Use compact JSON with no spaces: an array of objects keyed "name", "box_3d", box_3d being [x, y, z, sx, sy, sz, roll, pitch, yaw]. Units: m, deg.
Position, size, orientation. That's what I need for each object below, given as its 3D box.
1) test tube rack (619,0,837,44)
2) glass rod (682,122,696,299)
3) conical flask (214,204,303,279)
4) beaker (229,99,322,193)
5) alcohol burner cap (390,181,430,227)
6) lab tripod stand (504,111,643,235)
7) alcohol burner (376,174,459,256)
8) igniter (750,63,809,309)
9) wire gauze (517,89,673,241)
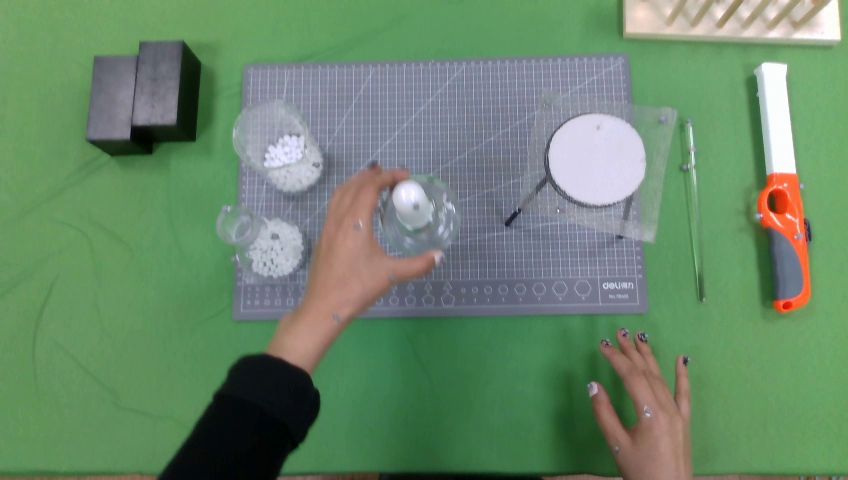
[{"name":"test tube rack","box_3d":[0.350,-0.272,0.671,0.242,0.085,0.066,3,79,3]},{"name":"glass rod","box_3d":[0.292,-0.035,0.667,0.008,0.008,0.199,1,82,2]},{"name":"conical flask","box_3d":[-0.172,-0.004,0.617,0.075,0.122,0.075,0,79,2]},{"name":"beaker","box_3d":[-0.150,-0.094,0.645,0.084,0.100,0.074,35,82,8]},{"name":"alcohol burner cap","box_3d":[-0.013,-0.034,0.516,0.034,0.048,0.033,-1,75,5]},{"name":"lab tripod stand","box_3d":[0.153,-0.059,0.610,0.148,0.132,0.148,0,81,3]},{"name":"alcohol burner","box_3d":[-0.009,-0.026,0.551,0.078,0.119,0.077,-1,82,9]},{"name":"igniter","box_3d":[0.385,-0.062,0.660,0.057,0.025,0.275,2,79,-7]},{"name":"wire gauze","box_3d":[0.154,-0.071,0.544,0.125,0.011,0.121,13,81,5]}]
